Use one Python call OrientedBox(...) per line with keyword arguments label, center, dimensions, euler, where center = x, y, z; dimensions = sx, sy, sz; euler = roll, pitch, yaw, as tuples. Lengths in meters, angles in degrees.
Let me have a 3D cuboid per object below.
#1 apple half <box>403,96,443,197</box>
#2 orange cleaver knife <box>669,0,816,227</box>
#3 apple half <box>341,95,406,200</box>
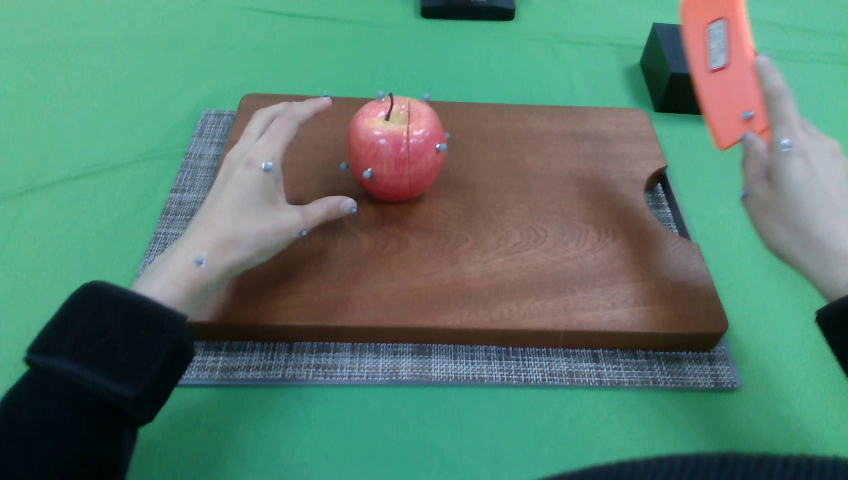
OrientedBox(label="apple half", center=(-0.001, -0.074, 0.493), dimensions=(0.033, 0.082, 0.080), euler=(-2, 49, 0))
OrientedBox(label="orange cleaver knife", center=(0.224, -0.101, 0.442), dimensions=(0.012, 0.077, 0.210), euler=(-8, 72, -11))
OrientedBox(label="apple half", center=(-0.040, -0.074, 0.492), dimensions=(0.053, 0.075, 0.080), euler=(-2, 52, 0))
